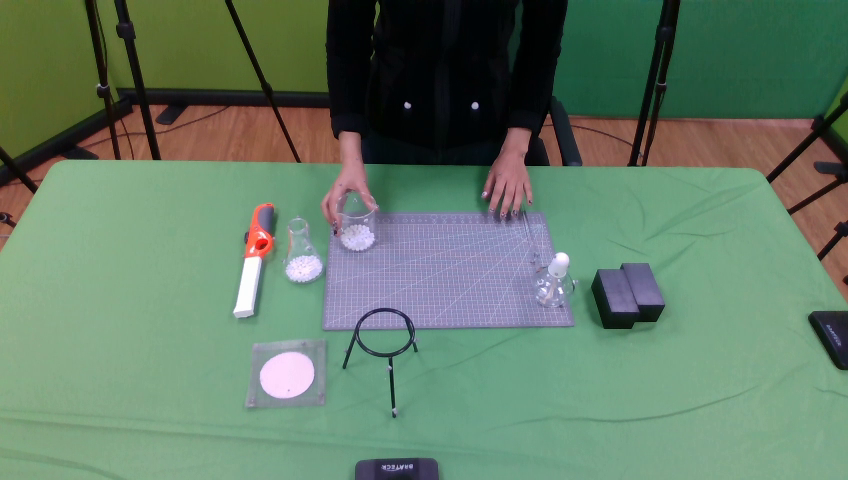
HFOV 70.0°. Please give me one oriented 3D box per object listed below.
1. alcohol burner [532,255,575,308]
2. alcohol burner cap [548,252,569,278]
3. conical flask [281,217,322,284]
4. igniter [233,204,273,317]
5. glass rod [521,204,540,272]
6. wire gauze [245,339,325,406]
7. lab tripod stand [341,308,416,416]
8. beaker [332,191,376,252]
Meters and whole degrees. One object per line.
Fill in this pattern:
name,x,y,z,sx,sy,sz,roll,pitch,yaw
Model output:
alcohol burner,0.235,0.066,1.087,0.078,0.119,0.077,4,45,-3
alcohol burner cap,0.238,0.042,1.060,0.034,0.048,0.033,1,53,-1
conical flask,-0.226,0.016,1.097,0.075,0.122,0.075,2,46,-2
igniter,-0.321,0.029,1.142,0.057,0.025,0.274,-8,46,4
glass rod,0.215,-0.008,1.230,0.008,0.008,0.198,0,43,-3
wire gauze,-0.224,0.214,0.984,0.125,0.011,0.120,-3,46,-5
lab tripod stand,-0.061,0.177,0.946,0.148,0.132,0.147,2,44,-2
beaker,-0.133,-0.032,1.163,0.084,0.101,0.073,-18,50,-20
